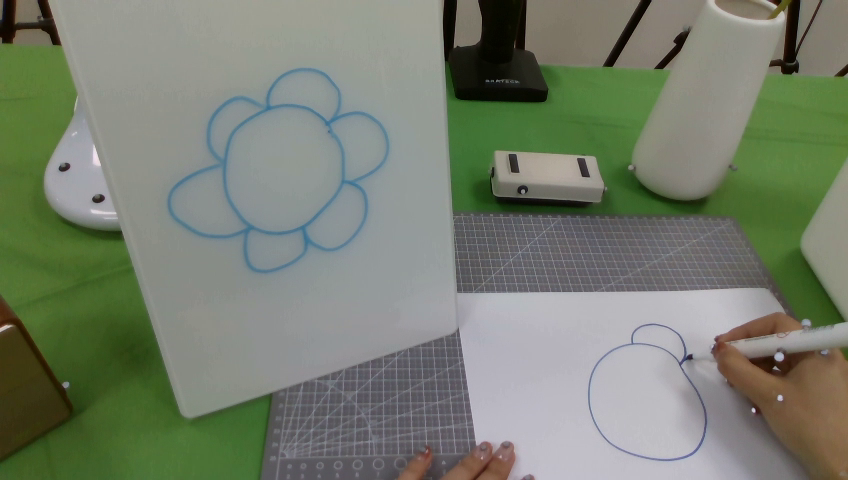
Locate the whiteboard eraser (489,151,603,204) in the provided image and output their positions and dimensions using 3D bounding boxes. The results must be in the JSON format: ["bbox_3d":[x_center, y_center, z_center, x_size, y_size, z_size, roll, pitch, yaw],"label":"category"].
[{"bbox_3d":[0.125,-0.064,0.631,0.113,0.042,0.055,2,42,-3],"label":"whiteboard eraser"}]

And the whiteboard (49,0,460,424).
[{"bbox_3d":[-0.106,-0.059,0.449,0.218,0.308,0.142,-14,28,-19],"label":"whiteboard"}]

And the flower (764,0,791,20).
[{"bbox_3d":[0.299,-0.186,0.544,0.044,0.363,0.038,-19,67,-33],"label":"flower"}]

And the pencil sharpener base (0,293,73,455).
[{"bbox_3d":[-0.287,0.077,0.388,0.076,0.108,0.061,35,51,27],"label":"pencil sharpener base"}]

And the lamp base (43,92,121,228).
[{"bbox_3d":[-0.288,-0.129,0.548,0.178,0.182,0.160,29,48,25],"label":"lamp base"}]

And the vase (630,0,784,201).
[{"bbox_3d":[0.282,-0.136,0.611,0.098,0.201,0.097,4,44,-4],"label":"vase"}]

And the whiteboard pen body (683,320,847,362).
[{"bbox_3d":[0.247,0.077,0.441,0.017,0.140,0.017,10,69,-27],"label":"whiteboard pen body"}]

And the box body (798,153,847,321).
[{"bbox_3d":[0.498,0.067,0.452,0.254,0.162,0.360,1,44,-4],"label":"box body"}]
